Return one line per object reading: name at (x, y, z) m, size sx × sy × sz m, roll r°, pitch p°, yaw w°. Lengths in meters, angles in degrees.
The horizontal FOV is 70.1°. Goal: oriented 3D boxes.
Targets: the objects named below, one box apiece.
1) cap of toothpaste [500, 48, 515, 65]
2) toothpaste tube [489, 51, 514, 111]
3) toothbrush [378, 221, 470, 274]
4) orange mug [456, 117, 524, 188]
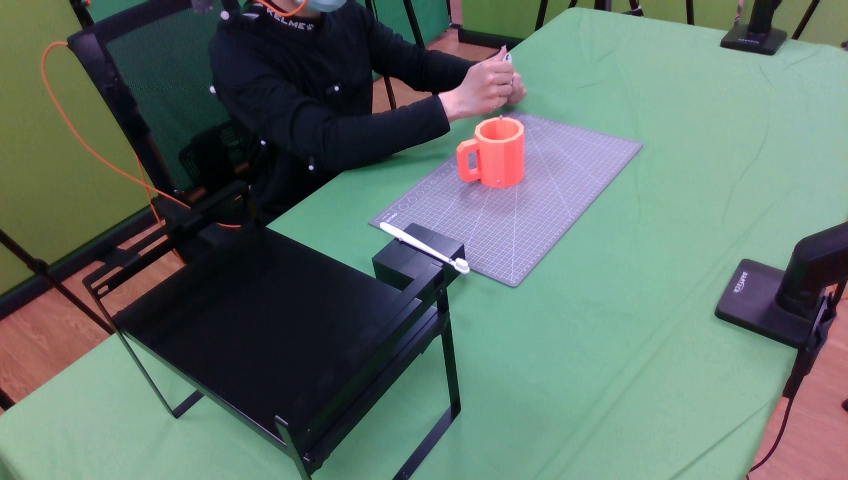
cap of toothpaste at (0.155, -0.344, 1.127) m, size 0.011 × 0.037 × 0.037 m, roll 46°, pitch 58°, yaw 8°
toothpaste tube at (0.154, -0.316, 1.214) m, size 0.055 × 0.166 × 0.034 m, roll 19°, pitch 68°, yaw 18°
toothbrush at (-0.004, 0.007, 0.894) m, size 0.180 × 0.017 × 0.014 m, roll 27°, pitch 55°, yaw 34°
orange mug at (0.117, -0.152, 1.071) m, size 0.127 × 0.101 × 0.083 m, roll -14°, pitch 41°, yaw -15°
